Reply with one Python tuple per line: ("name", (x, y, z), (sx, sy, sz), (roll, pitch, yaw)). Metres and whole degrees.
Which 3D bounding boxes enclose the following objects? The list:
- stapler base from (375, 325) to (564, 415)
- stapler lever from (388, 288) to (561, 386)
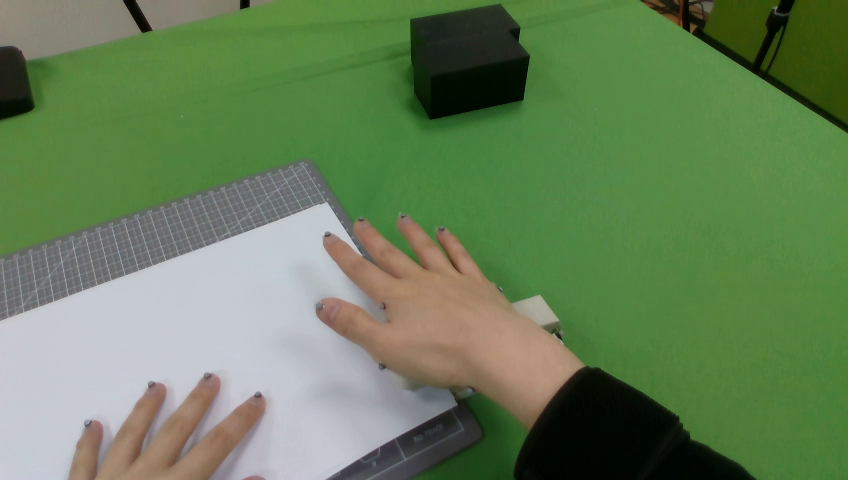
("stapler base", (0.032, 0.072, 0.400), (0.131, 0.024, 0.041), (-18, 53, -21))
("stapler lever", (0.033, 0.058, 0.385), (0.118, 0.040, 0.026), (-22, 54, -16))
